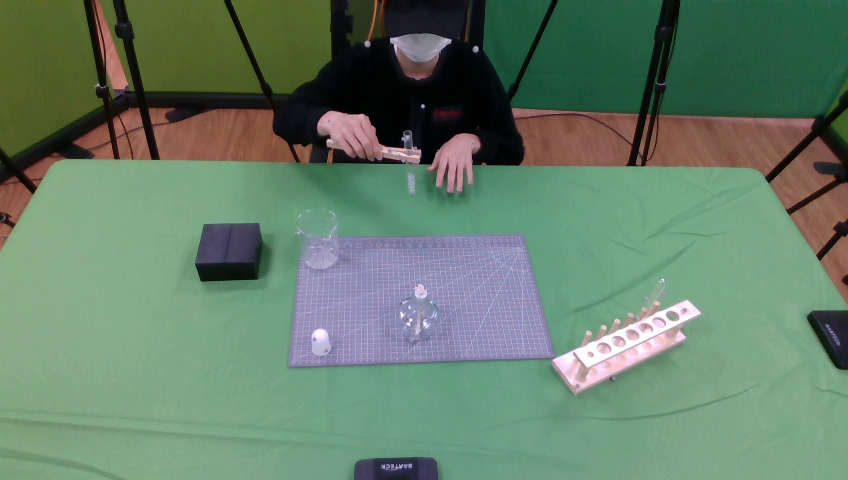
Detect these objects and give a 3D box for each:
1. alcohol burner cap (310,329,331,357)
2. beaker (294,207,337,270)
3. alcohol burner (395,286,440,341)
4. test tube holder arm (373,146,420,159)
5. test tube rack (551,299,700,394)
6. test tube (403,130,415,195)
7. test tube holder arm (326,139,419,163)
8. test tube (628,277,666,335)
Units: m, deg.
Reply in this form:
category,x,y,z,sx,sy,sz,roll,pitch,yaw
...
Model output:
category,x,y,z,sx,sy,sz,roll,pitch,yaw
alcohol burner cap,-0.173,0.168,1.004,0.034,0.048,0.033,2,46,-2
beaker,-0.196,0.003,1.123,0.074,0.101,0.083,-23,53,-24
alcohol burner,-0.010,0.116,1.018,0.078,0.119,0.077,3,47,-3
test tube holder arm,-0.051,-0.161,1.109,0.088,0.015,0.010,5,46,4
test tube rack,0.339,0.166,1.021,0.242,0.085,0.066,-19,50,-21
test tube,-0.028,-0.140,1.120,0.017,0.151,0.017,-1,48,1
test tube holder arm,-0.096,-0.163,1.111,0.178,0.015,0.013,10,46,9
test tube,0.371,0.112,1.014,0.017,0.151,0.017,3,47,-3
